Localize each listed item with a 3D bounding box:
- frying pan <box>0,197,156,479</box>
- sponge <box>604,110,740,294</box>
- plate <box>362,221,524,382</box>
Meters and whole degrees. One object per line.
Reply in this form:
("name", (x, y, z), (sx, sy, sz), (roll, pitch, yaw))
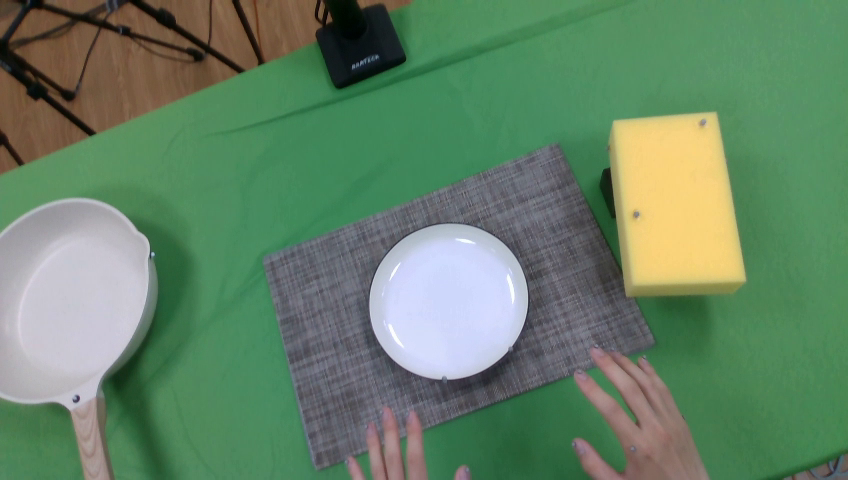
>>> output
("frying pan", (-0.468, 0.165, 0.811), (0.307, 0.104, 0.483), (-29, 62, 2))
("sponge", (0.284, -0.044, 0.711), (0.118, 0.061, 0.205), (-4, 72, 9))
("plate", (0.025, 0.079, 0.780), (0.207, 0.039, 0.206), (-3, 72, 9))
